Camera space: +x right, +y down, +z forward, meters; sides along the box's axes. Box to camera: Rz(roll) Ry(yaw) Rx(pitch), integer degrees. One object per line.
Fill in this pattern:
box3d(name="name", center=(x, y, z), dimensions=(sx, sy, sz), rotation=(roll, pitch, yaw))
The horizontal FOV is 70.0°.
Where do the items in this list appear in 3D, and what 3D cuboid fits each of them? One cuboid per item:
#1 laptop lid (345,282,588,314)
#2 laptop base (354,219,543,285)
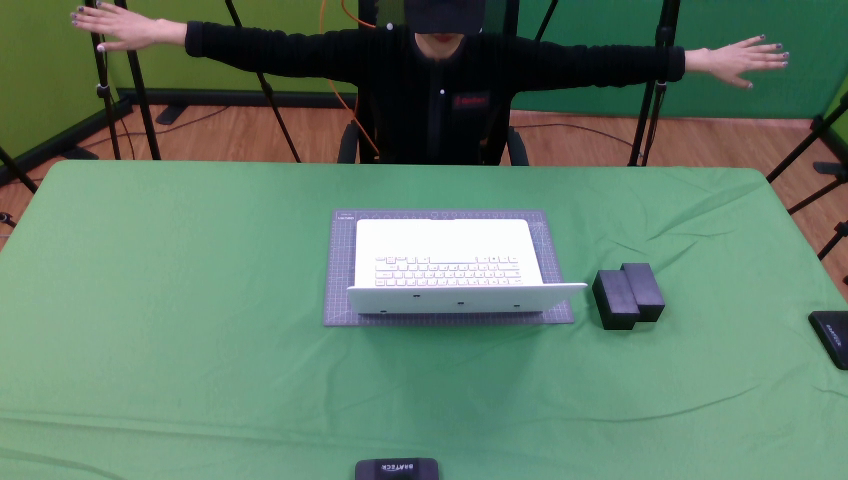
box3d(name="laptop lid", center=(0.057, 0.096, 0.969), dimensions=(0.357, 0.242, 0.013), rotation=(0, 74, -6))
box3d(name="laptop base", center=(0.043, 0.044, 1.162), dimensions=(0.355, 0.023, 0.234), rotation=(0, 43, -5))
